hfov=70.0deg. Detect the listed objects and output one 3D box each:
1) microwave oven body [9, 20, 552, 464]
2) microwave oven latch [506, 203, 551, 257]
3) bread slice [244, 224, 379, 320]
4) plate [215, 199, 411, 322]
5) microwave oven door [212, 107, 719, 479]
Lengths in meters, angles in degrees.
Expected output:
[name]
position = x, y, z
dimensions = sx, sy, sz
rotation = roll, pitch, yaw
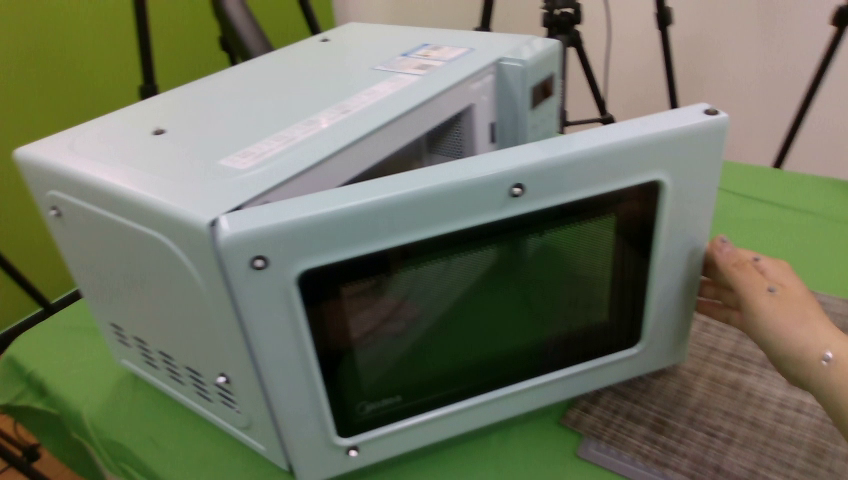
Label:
[microwave oven body]
position = -0.105, -0.041, 0.651
dimensions = 0.323, 0.262, 0.441
rotation = 17, 40, 32
[microwave oven latch]
position = 0.128, -0.013, 0.742
dimensions = 0.030, 0.030, 0.079
rotation = 18, 41, 33
[bread slice]
position = -0.117, 0.025, 0.657
dimensions = 0.104, 0.019, 0.131
rotation = 25, 49, 39
[plate]
position = -0.115, 0.021, 0.651
dimensions = 0.209, 0.038, 0.207
rotation = -6, 32, 4
[microwave oven door]
position = 0.051, 0.050, 0.466
dimensions = 0.356, 0.246, 0.039
rotation = -15, 33, -12
